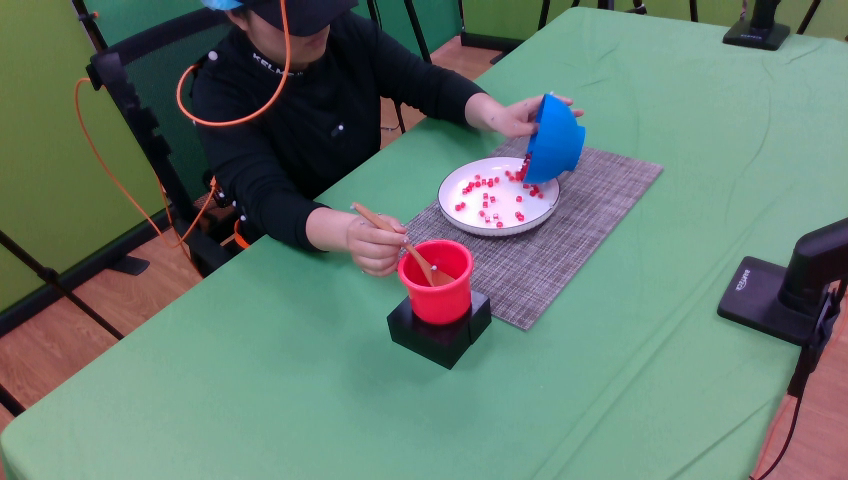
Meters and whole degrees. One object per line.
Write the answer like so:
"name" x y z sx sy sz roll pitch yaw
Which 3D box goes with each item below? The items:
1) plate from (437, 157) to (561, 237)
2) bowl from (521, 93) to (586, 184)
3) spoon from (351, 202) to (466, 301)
"plate" 0.127 -0.070 1.023 0.207 0.039 0.206 -5 40 5
"bowl" 0.215 -0.157 0.986 0.077 0.151 0.151 14 44 3
"spoon" -0.019 0.014 0.787 0.021 0.194 0.041 -35 17 37
